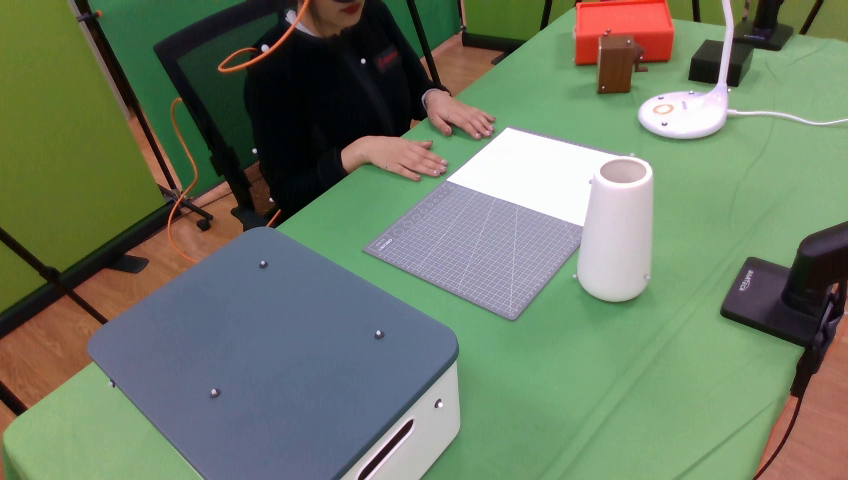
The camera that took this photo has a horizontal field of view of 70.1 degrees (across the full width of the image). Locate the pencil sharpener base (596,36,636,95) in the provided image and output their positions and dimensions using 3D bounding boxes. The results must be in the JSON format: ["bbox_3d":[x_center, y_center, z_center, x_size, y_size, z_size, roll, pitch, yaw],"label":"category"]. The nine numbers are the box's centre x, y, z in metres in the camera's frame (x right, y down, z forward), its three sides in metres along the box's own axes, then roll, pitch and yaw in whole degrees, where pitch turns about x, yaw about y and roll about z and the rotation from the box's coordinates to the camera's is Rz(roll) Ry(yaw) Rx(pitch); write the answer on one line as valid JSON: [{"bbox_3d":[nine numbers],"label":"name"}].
[{"bbox_3d":[0.406,-0.369,1.280,0.076,0.107,0.061,1,41,13],"label":"pencil sharpener base"}]

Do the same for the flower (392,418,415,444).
[{"bbox_3d":[-0.153,0.228,0.743,0.360,0.038,0.044,-2,44,16],"label":"flower"}]

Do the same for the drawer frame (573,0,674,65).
[{"bbox_3d":[0.464,-0.492,1.434,0.213,0.083,0.201,1,40,12],"label":"drawer frame"}]

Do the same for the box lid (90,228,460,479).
[{"bbox_3d":[-0.173,0.112,0.662,0.368,0.015,0.264,25,50,35],"label":"box lid"}]

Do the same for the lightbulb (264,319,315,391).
[{"bbox_3d":[-0.175,0.154,0.806,0.060,0.060,0.107,-24,58,-17],"label":"lightbulb"}]

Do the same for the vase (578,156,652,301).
[{"bbox_3d":[0.261,-0.011,0.812,0.098,0.201,0.097,-4,40,4],"label":"vase"}]

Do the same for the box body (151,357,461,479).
[{"bbox_3d":[-0.162,0.170,0.708,0.361,0.161,0.255,25,50,34],"label":"box body"}]

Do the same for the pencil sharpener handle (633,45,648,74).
[{"bbox_3d":[0.454,-0.378,1.262,0.030,0.068,0.036,1,47,13],"label":"pencil sharpener handle"}]

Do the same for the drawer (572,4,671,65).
[{"bbox_3d":[0.461,-0.490,1.435,0.211,0.073,0.194,2,41,12],"label":"drawer"}]

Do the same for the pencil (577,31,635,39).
[{"bbox_3d":[0.431,-0.489,1.443,0.012,0.012,0.192,-25,30,-18],"label":"pencil"}]

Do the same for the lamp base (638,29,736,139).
[{"bbox_3d":[0.501,-0.302,1.125,0.179,0.181,0.160,-4,40,3],"label":"lamp base"}]
